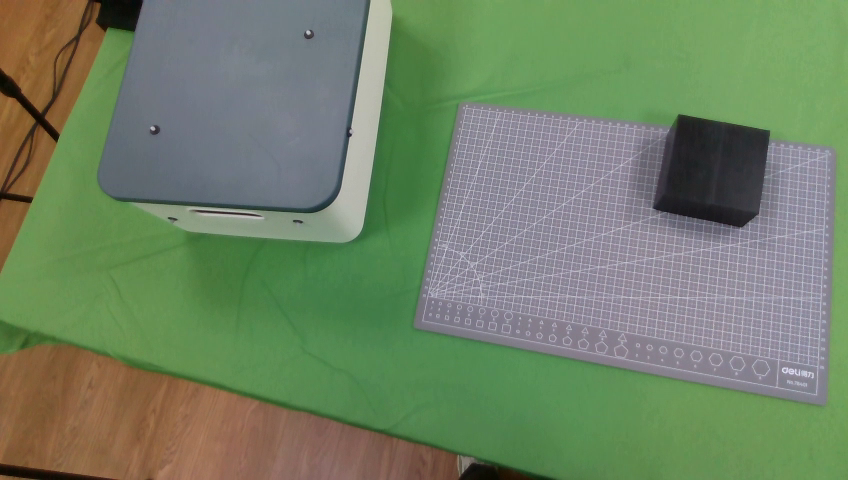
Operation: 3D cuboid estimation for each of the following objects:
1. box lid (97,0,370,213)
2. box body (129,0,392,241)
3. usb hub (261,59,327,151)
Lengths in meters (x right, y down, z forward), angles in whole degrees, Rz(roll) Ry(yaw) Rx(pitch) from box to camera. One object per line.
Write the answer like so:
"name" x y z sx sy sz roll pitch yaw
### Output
"box lid" -0.195 -0.208 0.657 0.263 0.015 0.369 4 75 8
"box body" -0.186 -0.189 0.729 0.254 0.161 0.362 4 75 8
"usb hub" -0.166 -0.175 0.781 0.049 0.025 0.124 9 69 12
